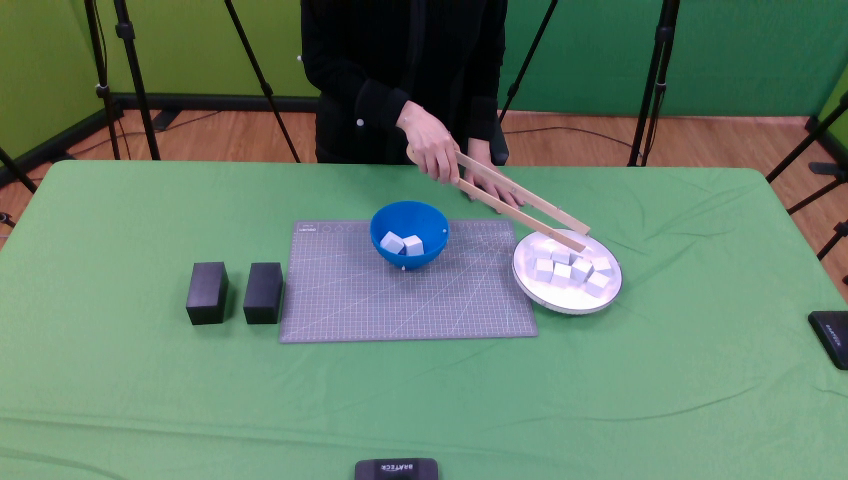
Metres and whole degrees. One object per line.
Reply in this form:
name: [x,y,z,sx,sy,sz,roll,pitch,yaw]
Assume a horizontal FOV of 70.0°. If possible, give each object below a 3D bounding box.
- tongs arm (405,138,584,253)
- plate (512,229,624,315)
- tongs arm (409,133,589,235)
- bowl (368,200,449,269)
tongs arm: [0.130,-0.079,1.137,0.388,0.028,0.028,30,57,-1]
plate: [0.268,0.063,1.146,0.208,0.039,0.206,3,46,-3]
tongs arm: [0.141,-0.101,1.157,0.385,0.026,0.050,31,53,0]
bowl: [-0.030,0.002,1.151,0.151,0.077,0.150,2,46,-2]
